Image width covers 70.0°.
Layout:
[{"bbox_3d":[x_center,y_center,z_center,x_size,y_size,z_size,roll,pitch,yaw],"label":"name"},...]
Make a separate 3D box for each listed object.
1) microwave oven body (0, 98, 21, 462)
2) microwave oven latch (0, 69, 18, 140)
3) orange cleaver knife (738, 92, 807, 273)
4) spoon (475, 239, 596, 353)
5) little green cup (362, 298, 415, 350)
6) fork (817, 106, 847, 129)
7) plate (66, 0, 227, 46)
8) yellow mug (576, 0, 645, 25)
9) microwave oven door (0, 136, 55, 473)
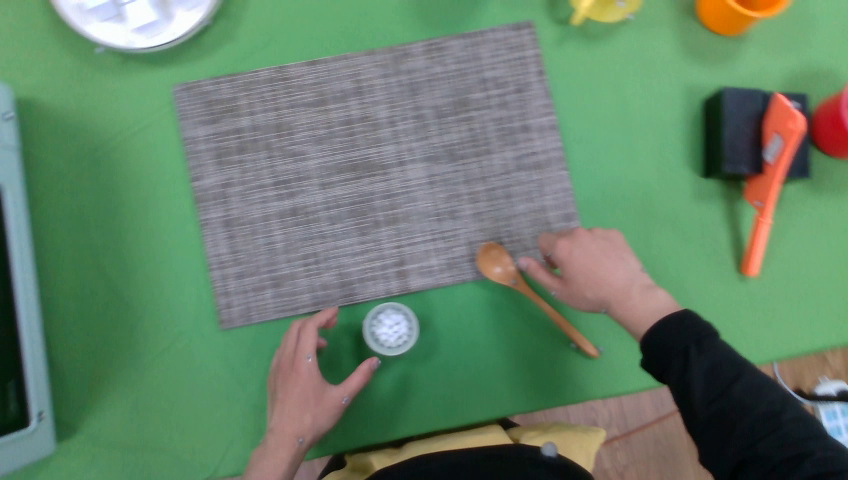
[{"bbox_3d":[-0.606,0.034,0.578,0.326,0.260,0.441,-8,87,-3],"label":"microwave oven body"},{"bbox_3d":[-0.486,-0.154,0.689,0.030,0.029,0.079,-6,88,-3],"label":"microwave oven latch"},{"bbox_3d":[0.400,-0.064,0.714,0.012,0.076,0.212,4,116,1],"label":"orange cleaver knife"},{"bbox_3d":[0.135,0.070,0.723,0.194,0.021,0.041,42,70,-1],"label":"spoon"},{"bbox_3d":[-0.041,0.098,0.710,0.061,0.039,0.061,0,84,-1],"label":"little green cup"},{"bbox_3d":[0.569,-0.136,0.692,0.205,0.019,0.028,15,82,41],"label":"fork"},{"bbox_3d":[-0.326,-0.329,0.724,0.208,0.039,0.207,0,87,-2],"label":"plate"},{"bbox_3d":[0.225,-0.314,0.729,0.100,0.064,0.131,37,87,1],"label":"yellow mug"},{"bbox_3d":[-0.455,0.056,0.577,0.039,0.244,0.355,-8,87,-2],"label":"microwave oven door"}]
